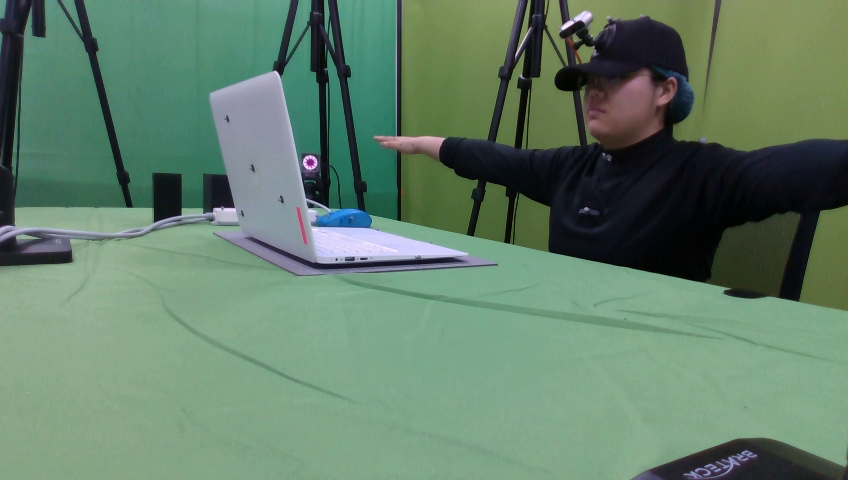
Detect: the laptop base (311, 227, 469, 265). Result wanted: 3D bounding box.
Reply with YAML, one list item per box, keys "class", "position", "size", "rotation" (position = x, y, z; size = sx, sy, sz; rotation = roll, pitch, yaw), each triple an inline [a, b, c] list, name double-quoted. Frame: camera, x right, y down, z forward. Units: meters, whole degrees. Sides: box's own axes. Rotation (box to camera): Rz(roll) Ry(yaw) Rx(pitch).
- class: "laptop base"
  position: [-0.123, 0.007, 0.952]
  size: [0.237, 0.023, 0.352]
  rotation: [2, 6, -32]

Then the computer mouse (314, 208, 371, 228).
- class: "computer mouse"
  position: [-0.173, -0.046, 1.284]
  size: [0.118, 0.041, 0.062]
  rotation: [-7, 13, -29]

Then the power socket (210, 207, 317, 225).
- class: "power socket"
  position: [-0.335, -0.051, 1.281]
  size: [0.228, 0.032, 0.072]
  rotation: [-1, 8, -28]

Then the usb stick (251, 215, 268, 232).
- class: "usb stick"
  position: [-0.290, -0.028, 1.070]
  size: [0.021, 0.027, 0.059]
  rotation: [-2, 12, -29]

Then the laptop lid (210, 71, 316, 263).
- class: "laptop lid"
  position: [-0.240, -0.104, 0.861]
  size: [0.013, 0.241, 0.355]
  rotation: [-16, 17, -29]

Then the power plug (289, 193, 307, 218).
- class: "power plug"
  position: [-0.281, -0.076, 1.340]
  size: [0.035, 0.052, 0.072]
  rotation: [3, 6, -17]
